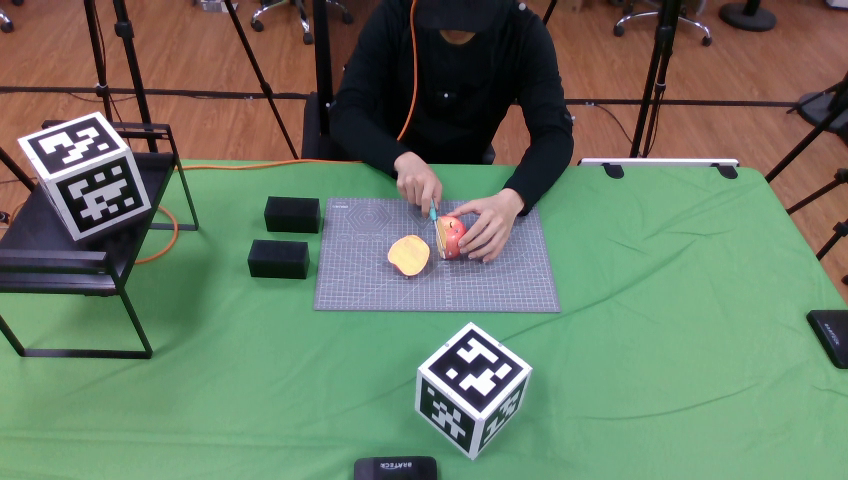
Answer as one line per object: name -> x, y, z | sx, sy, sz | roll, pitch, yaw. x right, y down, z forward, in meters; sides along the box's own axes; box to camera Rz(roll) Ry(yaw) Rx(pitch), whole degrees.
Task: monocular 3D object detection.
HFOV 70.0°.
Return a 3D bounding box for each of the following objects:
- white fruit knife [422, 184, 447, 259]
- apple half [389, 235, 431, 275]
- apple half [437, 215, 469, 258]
white fruit knife -> 0.022, -0.040, 1.190 | 0.016, 0.027, 0.206 | -11, 49, -5
apple half -> -0.023, 0.032, 1.145 | 0.081, 0.033, 0.081 | -2, 65, 5
apple half -> 0.058, -0.006, 1.163 | 0.053, 0.075, 0.080 | -4, 42, -13
